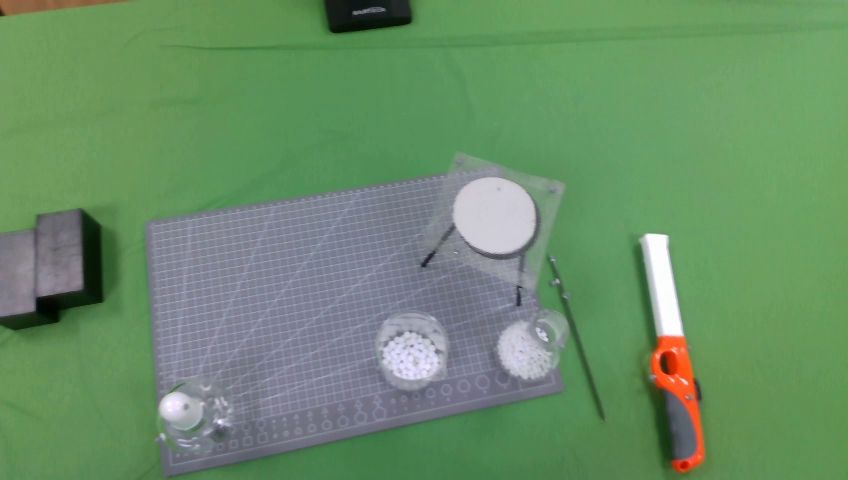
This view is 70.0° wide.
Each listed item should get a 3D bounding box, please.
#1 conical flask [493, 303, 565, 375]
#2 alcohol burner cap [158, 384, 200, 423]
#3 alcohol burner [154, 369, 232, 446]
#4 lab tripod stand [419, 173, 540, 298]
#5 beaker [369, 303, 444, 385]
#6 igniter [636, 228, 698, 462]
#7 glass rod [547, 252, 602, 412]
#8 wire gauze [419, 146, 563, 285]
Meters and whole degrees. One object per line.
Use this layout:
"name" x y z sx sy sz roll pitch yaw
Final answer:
"conical flask" 0.120 0.102 0.658 0.075 0.122 0.075 1 70 -3
"alcohol burner cap" -0.237 0.155 0.581 0.034 0.048 0.033 3 62 -5
"alcohol burner" -0.239 0.169 0.615 0.078 0.120 0.077 1 71 -2
"lab tripod stand" 0.069 -0.006 0.687 0.148 0.132 0.147 1 72 -2
"beaker" -0.017 0.118 0.655 0.083 0.101 0.074 41 73 11
"igniter" 0.286 0.117 0.717 0.057 0.025 0.274 4 70 -13
"glass rod" 0.178 0.106 0.724 0.008 0.008 0.198 -11 71 -8
"wire gauze" 0.070 -0.030 0.624 0.125 0.011 0.121 20 72 4
